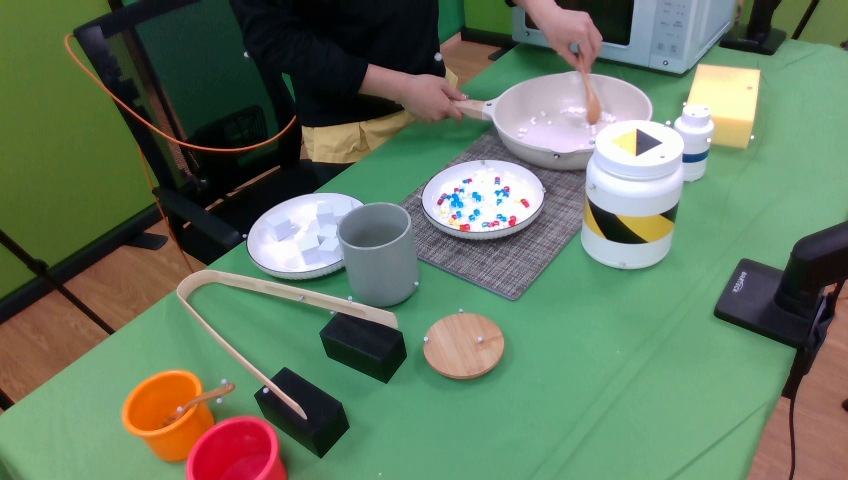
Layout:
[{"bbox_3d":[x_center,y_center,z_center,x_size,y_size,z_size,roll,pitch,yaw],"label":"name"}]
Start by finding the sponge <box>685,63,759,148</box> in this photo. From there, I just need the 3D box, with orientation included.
[{"bbox_3d":[0.569,-0.263,1.164,0.117,0.061,0.207,12,45,22],"label":"sponge"}]

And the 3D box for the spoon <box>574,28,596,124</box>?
[{"bbox_3d":[0.320,-0.325,1.196,0.041,0.193,0.022,2,3,24],"label":"spoon"}]

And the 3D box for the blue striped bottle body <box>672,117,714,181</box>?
[{"bbox_3d":[0.449,-0.165,1.022,0.063,0.121,0.063,-5,41,4],"label":"blue striped bottle body"}]

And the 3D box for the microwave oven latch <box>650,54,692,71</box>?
[{"bbox_3d":[0.531,-0.386,1.301,0.078,0.029,0.030,24,50,32],"label":"microwave oven latch"}]

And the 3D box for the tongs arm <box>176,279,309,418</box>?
[{"bbox_3d":[-0.255,0.132,0.801,0.028,0.028,0.384,-41,40,-23],"label":"tongs arm"}]

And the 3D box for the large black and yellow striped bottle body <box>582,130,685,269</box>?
[{"bbox_3d":[0.301,-0.063,0.877,0.131,0.185,0.130,-4,41,4],"label":"large black and yellow striped bottle body"}]

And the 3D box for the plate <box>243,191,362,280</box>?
[{"bbox_3d":[-0.188,-0.005,0.992,0.207,0.039,0.206,-4,40,4],"label":"plate"}]

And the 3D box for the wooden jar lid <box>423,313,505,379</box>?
[{"bbox_3d":[0.053,0.142,0.800,0.108,0.021,0.108,-5,39,4],"label":"wooden jar lid"}]

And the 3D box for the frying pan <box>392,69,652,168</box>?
[{"bbox_3d":[0.175,-0.249,1.166,0.487,0.103,0.306,12,43,9],"label":"frying pan"}]

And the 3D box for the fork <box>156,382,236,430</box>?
[{"bbox_3d":[-0.262,0.189,0.690,0.018,0.206,0.028,49,43,-7],"label":"fork"}]

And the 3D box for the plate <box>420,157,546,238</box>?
[{"bbox_3d":[0.099,-0.067,1.017,0.209,0.038,0.208,-4,40,4],"label":"plate"}]

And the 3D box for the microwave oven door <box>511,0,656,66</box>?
[{"bbox_3d":[0.351,-0.540,1.349,0.353,0.245,0.039,24,50,31],"label":"microwave oven door"}]

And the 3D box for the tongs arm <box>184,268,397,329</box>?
[{"bbox_3d":[-0.202,0.084,0.848,0.382,0.027,0.051,11,44,35],"label":"tongs arm"}]

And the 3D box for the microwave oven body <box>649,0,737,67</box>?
[{"bbox_3d":[0.475,-0.602,1.411,0.438,0.261,0.327,23,50,32],"label":"microwave oven body"}]

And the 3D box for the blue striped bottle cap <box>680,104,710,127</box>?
[{"bbox_3d":[0.443,-0.205,0.989,0.044,0.021,0.044,-1,41,2],"label":"blue striped bottle cap"}]

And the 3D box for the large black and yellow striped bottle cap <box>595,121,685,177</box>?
[{"bbox_3d":[0.292,-0.126,0.821,0.115,0.019,0.114,-5,40,4],"label":"large black and yellow striped bottle cap"}]

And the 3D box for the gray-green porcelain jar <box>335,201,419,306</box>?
[{"bbox_3d":[-0.064,0.024,0.872,0.106,0.127,0.105,-4,41,4],"label":"gray-green porcelain jar"}]
